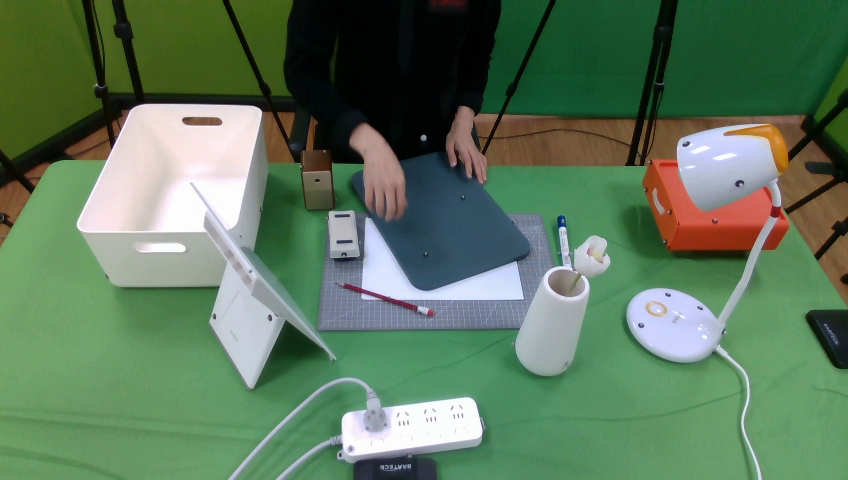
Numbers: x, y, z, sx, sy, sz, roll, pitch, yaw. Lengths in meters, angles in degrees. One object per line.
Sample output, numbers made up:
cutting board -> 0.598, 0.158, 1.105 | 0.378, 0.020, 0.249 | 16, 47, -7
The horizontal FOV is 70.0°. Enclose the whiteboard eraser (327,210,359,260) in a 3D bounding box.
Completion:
whiteboard eraser -> -0.158, -0.009, 1.177 | 0.055, 0.042, 0.112 | -6, 47, -7

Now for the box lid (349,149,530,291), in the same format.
box lid -> 0.025, -0.056, 1.259 | 0.263, 0.015, 0.369 | -18, 49, -20

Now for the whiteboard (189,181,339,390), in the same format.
whiteboard -> -0.292, 0.096, 0.929 | 0.144, 0.307, 0.216 | -37, 57, -10

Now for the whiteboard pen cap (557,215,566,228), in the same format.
whiteboard pen cap -> 0.284, -0.035, 1.246 | 0.018, 0.018, 0.033 | 4, 52, -1

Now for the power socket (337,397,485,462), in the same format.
power socket -> -0.018, 0.285, 0.915 | 0.227, 0.033, 0.071 | -5, 46, -8

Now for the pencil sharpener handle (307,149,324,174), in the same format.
pencil sharpener handle -> -0.229, -0.170, 1.267 | 0.036, 0.068, 0.030 | 4, 44, -16

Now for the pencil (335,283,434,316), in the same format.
pencil -> -0.074, 0.105, 1.097 | 0.194, 0.012, 0.012 | 16, 47, 13

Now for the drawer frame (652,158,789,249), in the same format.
drawer frame -> 0.571, -0.075, 1.214 | 0.214, 0.083, 0.200 | 0, 45, -1

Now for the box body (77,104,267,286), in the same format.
box body -> -0.446, -0.088, 1.150 | 0.254, 0.161, 0.361 | -1, 46, -5

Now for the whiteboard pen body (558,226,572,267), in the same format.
whiteboard pen body -> 0.280, 0.010, 1.208 | 0.017, 0.017, 0.140 | 3, 50, -1

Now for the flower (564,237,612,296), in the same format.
flower -> 0.206, 0.088, 0.893 | 0.038, 0.363, 0.044 | -16, 67, -9

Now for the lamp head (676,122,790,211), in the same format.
lamp head -> 0.423, -0.104, 0.819 | 0.122, 0.113, 0.112 | -13, 33, 40

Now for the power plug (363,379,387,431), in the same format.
power plug -> -0.072, 0.252, 0.910 | 0.035, 0.053, 0.072 | 3, 45, -1

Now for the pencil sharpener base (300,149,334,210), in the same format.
pencil sharpener base -> -0.219, -0.125, 1.242 | 0.061, 0.107, 0.076 | -4, 46, -7

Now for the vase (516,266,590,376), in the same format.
vase -> 0.208, 0.132, 0.964 | 0.098, 0.201, 0.097 | 3, 46, -3

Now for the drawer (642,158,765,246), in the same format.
drawer -> 0.566, -0.076, 1.211 | 0.212, 0.073, 0.193 | 2, 45, -2

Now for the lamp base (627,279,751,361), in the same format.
lamp base -> 0.460, 0.100, 1.027 | 0.178, 0.181, 0.160 | 27, 51, 17
